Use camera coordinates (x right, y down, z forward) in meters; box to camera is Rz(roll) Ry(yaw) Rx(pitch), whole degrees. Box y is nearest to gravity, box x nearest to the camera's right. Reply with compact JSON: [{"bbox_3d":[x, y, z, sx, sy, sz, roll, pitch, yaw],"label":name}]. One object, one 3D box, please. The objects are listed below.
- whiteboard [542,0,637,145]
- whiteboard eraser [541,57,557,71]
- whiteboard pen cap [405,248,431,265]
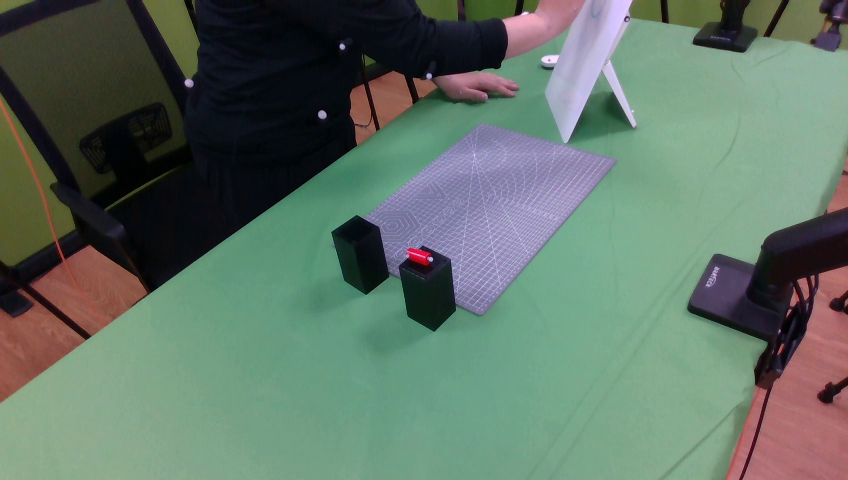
[{"bbox_3d":[0.366,-0.351,1.160,0.144,0.305,0.216,10,39,-10],"label":"whiteboard"},{"bbox_3d":[0.324,-0.412,1.408,0.101,0.019,0.041,2,43,11],"label":"whiteboard eraser"},{"bbox_3d":[-0.008,0.021,0.794,0.032,0.017,0.017,16,45,28],"label":"whiteboard pen cap"}]
